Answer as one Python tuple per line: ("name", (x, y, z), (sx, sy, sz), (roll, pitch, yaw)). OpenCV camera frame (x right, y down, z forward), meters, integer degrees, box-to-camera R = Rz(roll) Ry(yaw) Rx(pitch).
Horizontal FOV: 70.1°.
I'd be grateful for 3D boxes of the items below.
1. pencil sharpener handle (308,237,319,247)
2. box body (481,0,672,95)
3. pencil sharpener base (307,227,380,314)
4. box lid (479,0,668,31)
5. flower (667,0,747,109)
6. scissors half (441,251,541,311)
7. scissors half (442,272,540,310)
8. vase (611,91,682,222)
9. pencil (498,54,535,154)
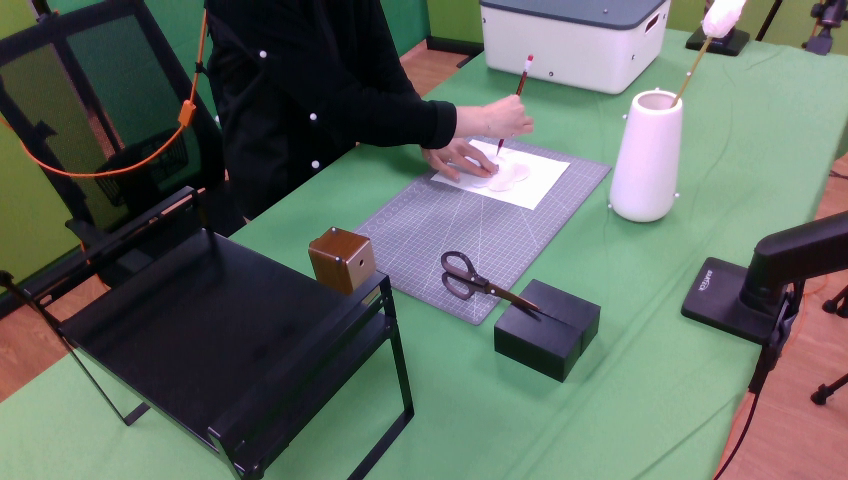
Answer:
("pencil sharpener handle", (-0.159, 0.017, 0.892), (0.030, 0.068, 0.036), (18, 61, 28))
("box body", (0.341, -0.480, 1.381), (0.361, 0.161, 0.255), (22, 48, 30))
("pencil sharpener base", (-0.116, 0.043, 0.875), (0.076, 0.107, 0.061), (18, 47, 27))
("box lid", (0.335, -0.536, 1.331), (0.368, 0.015, 0.264), (23, 49, 30))
("flower", (0.354, -0.187, 0.879), (0.038, 0.362, 0.044), (30, 48, 14))
("scissors half", (0.087, 0.056, 0.824), (0.173, 0.040, 0.013), (29, 44, 36))
("scissors half", (0.089, 0.074, 0.833), (0.013, 0.040, 0.173), (-24, 23, -38))
("vase", (0.348, -0.125, 0.935), (0.098, 0.201, 0.097), (-3, 40, 3))
("pencil", (0.166, -0.245, 1.109), (0.012, 0.194, 0.012), (13, 30, -7))
